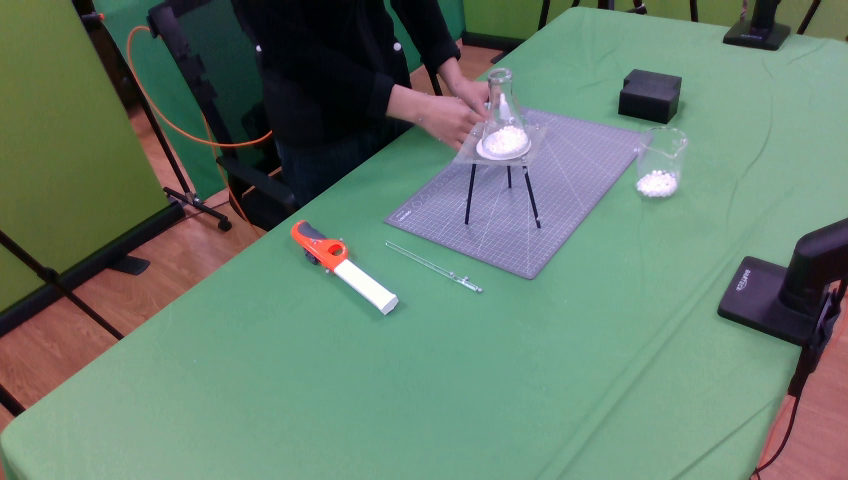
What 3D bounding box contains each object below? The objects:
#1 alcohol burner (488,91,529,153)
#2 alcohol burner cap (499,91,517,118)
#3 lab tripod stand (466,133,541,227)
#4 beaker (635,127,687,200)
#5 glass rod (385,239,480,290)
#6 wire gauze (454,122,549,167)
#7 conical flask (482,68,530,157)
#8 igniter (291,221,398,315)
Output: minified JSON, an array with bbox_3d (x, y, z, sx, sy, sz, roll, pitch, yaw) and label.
[{"bbox_3d":[0.159,-0.226,1.146,0.078,0.120,0.077,-7,40,6],"label":"alcohol burner"},{"bbox_3d":[0.155,-0.253,1.121,0.034,0.048,0.033,-6,47,6],"label":"alcohol burner cap"},{"bbox_3d":[0.130,-0.099,0.985,0.148,0.132,0.147,-6,38,6],"label":"lab tripod stand"},{"bbox_3d":[0.388,-0.122,0.994,0.074,0.101,0.083,-8,40,2],"label":"beaker"},{"bbox_3d":[0.009,0.037,0.950,0.198,0.008,0.008,27,52,35],"label":"glass rod"},{"bbox_3d":[0.122,-0.149,0.943,0.121,0.011,0.125,7,44,22],"label":"wire gauze"},{"bbox_3d":[0.118,-0.192,0.902,0.075,0.122,0.075,-7,39,6],"label":"conical flask"},{"bbox_3d":[-0.136,0.037,0.962,0.057,0.025,0.274,-41,48,-18],"label":"igniter"}]
